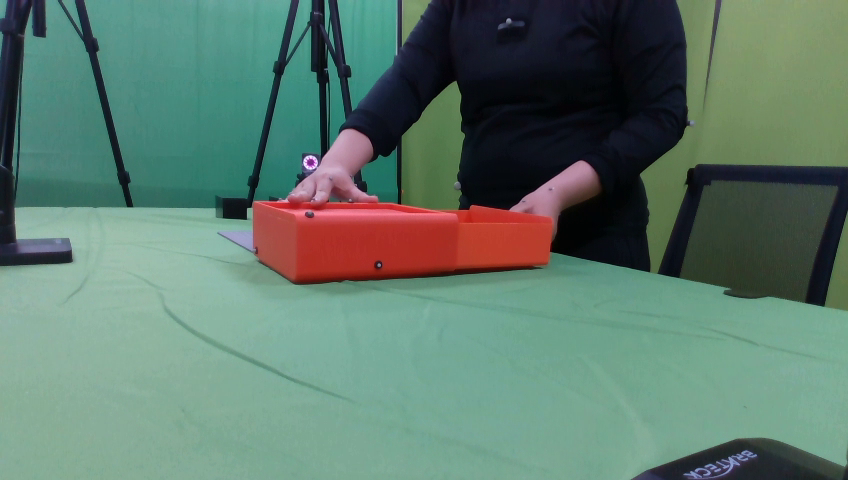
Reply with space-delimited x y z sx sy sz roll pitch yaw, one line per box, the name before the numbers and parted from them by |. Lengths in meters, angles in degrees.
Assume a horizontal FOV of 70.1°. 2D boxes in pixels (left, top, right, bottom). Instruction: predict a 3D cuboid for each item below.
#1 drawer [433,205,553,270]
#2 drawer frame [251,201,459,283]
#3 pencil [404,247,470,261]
drawer | 0.042 -0.008 0.870 0.213 0.073 0.193 -2 10 -33
drawer frame | -0.095 -0.006 0.789 0.215 0.082 0.200 -2 9 -30
pencil | 0.025 0.018 0.868 0.012 0.012 0.195 7 6 29
